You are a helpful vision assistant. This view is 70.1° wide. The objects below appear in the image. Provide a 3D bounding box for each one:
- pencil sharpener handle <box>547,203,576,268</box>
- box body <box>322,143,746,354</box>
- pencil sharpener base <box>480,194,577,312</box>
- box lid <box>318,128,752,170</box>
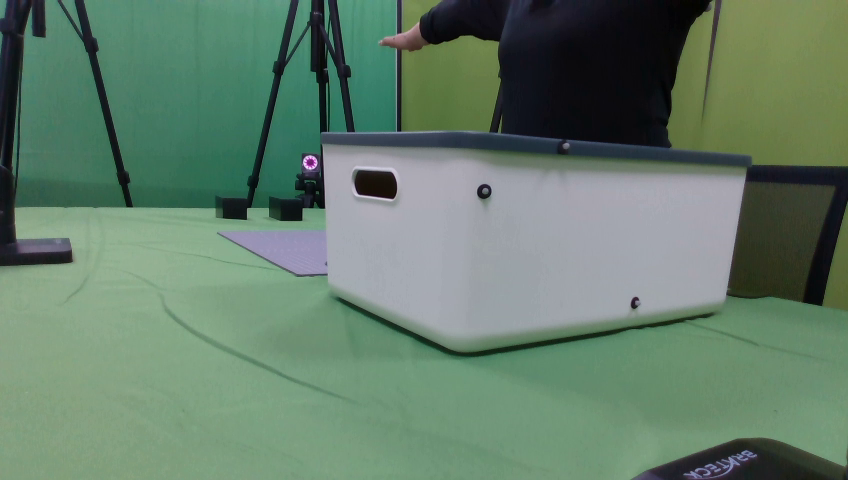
[{"bbox_3d":[0.145,-0.004,0.618,0.031,0.067,0.036,-2,18,-32],"label":"pencil sharpener handle"},{"bbox_3d":[0.106,-0.011,0.603,0.366,0.160,0.253,-2,8,-34],"label":"box body"},{"bbox_3d":[0.102,0.010,0.589,0.077,0.107,0.061,-2,7,-32],"label":"pencil sharpener base"},{"bbox_3d":[0.107,-0.085,0.594,0.373,0.015,0.262,-1,8,-34],"label":"box lid"}]
